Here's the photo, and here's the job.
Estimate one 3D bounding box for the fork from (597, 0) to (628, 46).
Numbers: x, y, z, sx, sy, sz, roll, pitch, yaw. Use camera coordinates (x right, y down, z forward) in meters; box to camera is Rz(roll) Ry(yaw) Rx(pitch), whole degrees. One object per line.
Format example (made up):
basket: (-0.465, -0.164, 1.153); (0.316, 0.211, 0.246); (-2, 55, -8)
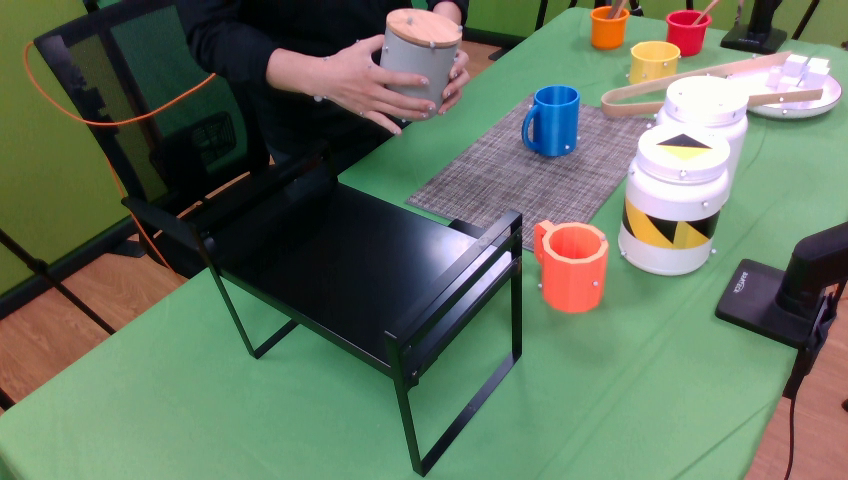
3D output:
fork: (0.479, -0.558, 1.455); (0.028, 0.019, 0.207); (35, 100, 38)

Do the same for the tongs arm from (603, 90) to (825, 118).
tongs arm: (0.546, -0.262, 1.163); (0.386, 0.028, 0.028); (-1, 49, 18)

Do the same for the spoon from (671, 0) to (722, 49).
spoon: (0.639, -0.510, 1.380); (0.193, 0.022, 0.041); (-49, 40, 19)

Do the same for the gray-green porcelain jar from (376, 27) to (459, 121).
gray-green porcelain jar: (-0.014, -0.250, 0.899); (0.106, 0.126, 0.105); (9, 43, -8)

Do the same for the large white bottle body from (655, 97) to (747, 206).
large white bottle body: (0.430, -0.148, 0.959); (0.130, 0.185, 0.130); (-4, 41, 4)

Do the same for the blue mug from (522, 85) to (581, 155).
blue mug: (0.233, -0.218, 1.127); (0.117, 0.106, 0.081); (-23, 43, -16)

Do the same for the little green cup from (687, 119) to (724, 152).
little green cup: (0.514, -0.191, 1.109); (0.061, 0.039, 0.061); (-5, 40, 5)

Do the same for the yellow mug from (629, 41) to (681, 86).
yellow mug: (0.495, -0.389, 1.321); (0.100, 0.064, 0.130); (-14, 40, -6)

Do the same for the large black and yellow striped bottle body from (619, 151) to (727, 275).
large black and yellow striped bottle body: (0.354, -0.056, 0.865); (0.131, 0.185, 0.130); (-4, 41, 4)

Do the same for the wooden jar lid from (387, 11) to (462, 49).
wooden jar lid: (0.000, -0.294, 0.857); (0.109, 0.021, 0.108); (9, 41, -8)

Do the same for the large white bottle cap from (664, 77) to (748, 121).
large white bottle cap: (0.421, -0.212, 0.905); (0.115, 0.018, 0.114); (-4, 40, 4)

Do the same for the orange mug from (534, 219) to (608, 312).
orange mug: (0.200, 0.027, 0.858); (0.084, 0.101, 0.125); (-24, 47, -18)

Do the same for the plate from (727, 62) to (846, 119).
plate: (0.709, -0.292, 1.197); (0.207, 0.039, 0.206); (-4, 40, 4)

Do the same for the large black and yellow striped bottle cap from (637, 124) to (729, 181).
large black and yellow striped bottle cap: (0.346, -0.119, 0.810); (0.115, 0.019, 0.114); (-5, 41, 5)

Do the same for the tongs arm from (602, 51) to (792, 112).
tongs arm: (0.552, -0.320, 1.224); (0.384, 0.027, 0.050); (-10, 43, 7)

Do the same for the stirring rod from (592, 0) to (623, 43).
stirring rod: (0.460, -0.557, 1.461); (0.014, 0.176, 0.006); (35, 11, 23)
